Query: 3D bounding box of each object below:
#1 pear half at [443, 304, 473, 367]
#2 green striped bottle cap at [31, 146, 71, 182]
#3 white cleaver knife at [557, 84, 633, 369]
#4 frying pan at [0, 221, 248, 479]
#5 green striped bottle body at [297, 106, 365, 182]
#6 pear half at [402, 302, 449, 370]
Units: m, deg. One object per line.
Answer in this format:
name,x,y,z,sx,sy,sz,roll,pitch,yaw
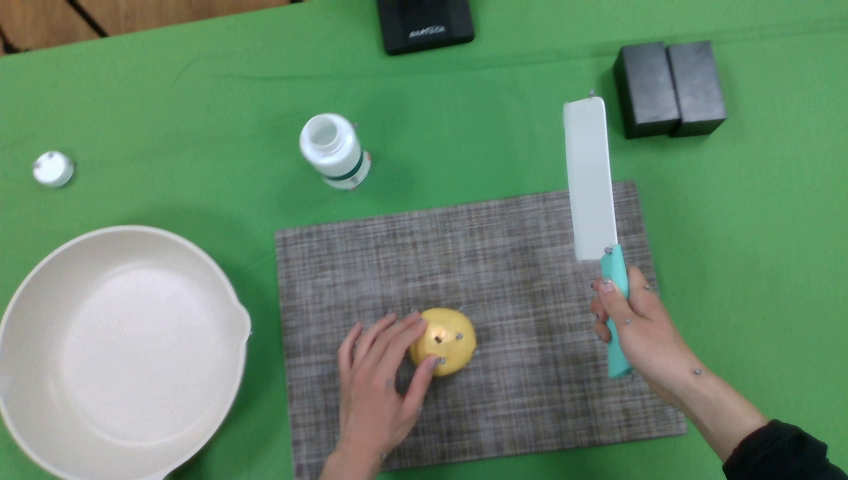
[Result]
pear half,0.039,0.105,0.673,0.031,0.088,0.070,-3,76,4
green striped bottle cap,-0.482,-0.099,0.784,0.044,0.020,0.044,-1,80,5
white cleaver knife,0.171,-0.012,0.610,0.021,0.065,0.286,-6,90,-29
frying pan,-0.323,0.221,0.673,0.307,0.103,0.484,-13,71,2
green striped bottle body,-0.109,-0.114,0.711,0.063,0.120,0.063,-1,79,4
pear half,0.002,0.104,0.666,0.056,0.110,0.076,-3,75,4
